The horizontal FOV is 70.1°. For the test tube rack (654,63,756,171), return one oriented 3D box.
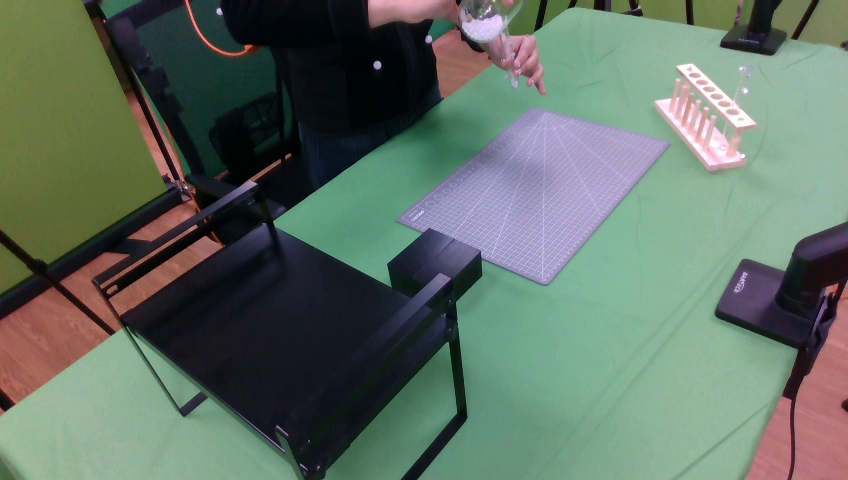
[{"bbox_3d":[0.511,-0.233,1.120,0.067,0.085,0.241,-8,41,-1],"label":"test tube rack"}]

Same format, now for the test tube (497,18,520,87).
[{"bbox_3d":[0.140,-0.304,0.994,0.017,0.151,0.017,-8,61,15],"label":"test tube"}]

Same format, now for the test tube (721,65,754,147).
[{"bbox_3d":[0.534,-0.226,1.031,0.017,0.151,0.017,-2,40,2],"label":"test tube"}]

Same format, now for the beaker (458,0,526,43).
[{"bbox_3d":[0.097,-0.335,0.875,0.073,0.084,0.100,16,47,20],"label":"beaker"}]
